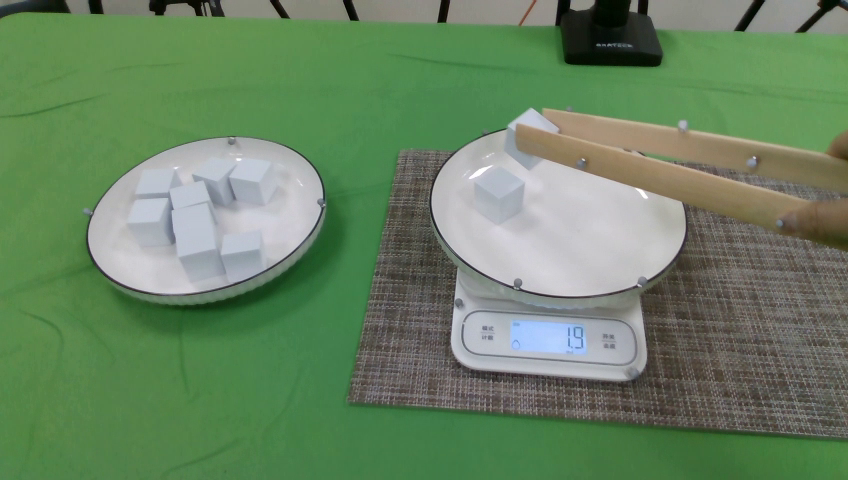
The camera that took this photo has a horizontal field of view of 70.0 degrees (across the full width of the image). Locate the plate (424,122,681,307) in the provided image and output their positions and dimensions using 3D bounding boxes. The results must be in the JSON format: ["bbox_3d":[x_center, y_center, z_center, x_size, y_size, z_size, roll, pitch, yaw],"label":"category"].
[{"bbox_3d":[0.104,-0.023,0.509,0.208,0.039,0.205,0,47,0],"label":"plate"}]

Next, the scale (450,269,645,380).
[{"bbox_3d":[0.102,0.021,0.513,0.148,0.032,0.199,4,48,5],"label":"scale"}]

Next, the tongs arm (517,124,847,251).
[{"bbox_3d":[0.210,-0.024,0.365,0.028,0.028,0.384,-34,40,-32],"label":"tongs arm"}]

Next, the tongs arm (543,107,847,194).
[{"bbox_3d":[0.227,-0.037,0.376,0.381,0.027,0.050,20,47,38],"label":"tongs arm"}]

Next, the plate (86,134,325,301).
[{"bbox_3d":[-0.194,-0.022,0.559,0.209,0.038,0.207,0,47,0],"label":"plate"}]
